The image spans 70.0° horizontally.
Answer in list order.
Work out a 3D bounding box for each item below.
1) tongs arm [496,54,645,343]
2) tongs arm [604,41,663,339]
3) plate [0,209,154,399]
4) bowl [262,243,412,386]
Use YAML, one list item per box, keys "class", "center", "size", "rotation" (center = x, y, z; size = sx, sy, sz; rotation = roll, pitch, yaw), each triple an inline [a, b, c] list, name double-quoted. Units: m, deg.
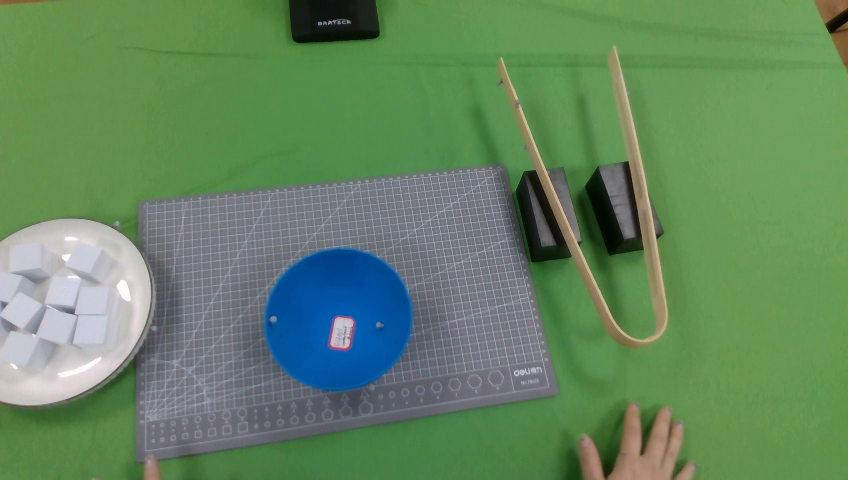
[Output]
- class: "tongs arm"
  center: [0.162, -0.062, 0.706]
  size: [0.051, 0.027, 0.381]
  rotation: [-12, 69, -9]
- class: "tongs arm"
  center: [0.241, -0.073, 0.715]
  size: [0.028, 0.028, 0.384]
  rotation: [2, 68, -8]
- class: "plate"
  center: [-0.395, 0.068, 0.652]
  size: [0.208, 0.039, 0.206]
  rotation: [1, 69, -3]
- class: "bowl"
  center: [-0.090, 0.086, 0.647]
  size: [0.151, 0.077, 0.150]
  rotation: [2, 68, -4]
